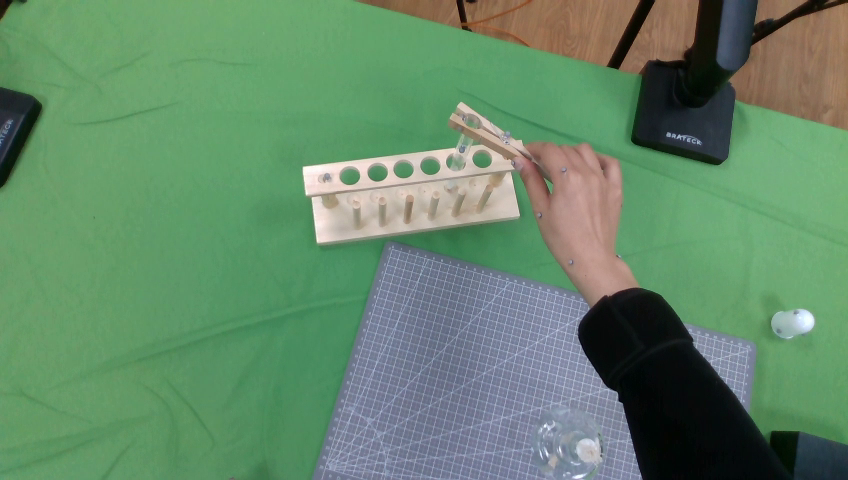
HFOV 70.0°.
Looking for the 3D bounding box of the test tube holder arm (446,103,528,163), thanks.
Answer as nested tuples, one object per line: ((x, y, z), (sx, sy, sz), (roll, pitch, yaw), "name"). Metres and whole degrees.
((0.061, -0.102, 0.582), (0.088, 0.015, 0.010), (32, 58, 0), "test tube holder arm")

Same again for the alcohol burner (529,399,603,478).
((0.148, 0.202, 0.613), (0.078, 0.119, 0.077), (1, 76, -4), "alcohol burner")

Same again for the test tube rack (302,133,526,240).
((-0.009, -0.059, 0.689), (0.243, 0.085, 0.066), (-8, 75, -6), "test tube rack")

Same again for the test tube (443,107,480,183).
((0.038, -0.097, 0.650), (0.017, 0.151, 0.017), (2, 70, -6), "test tube")

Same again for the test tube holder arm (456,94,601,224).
((0.100, -0.078, 0.582), (0.178, 0.015, 0.013), (41, 60, 5), "test tube holder arm")

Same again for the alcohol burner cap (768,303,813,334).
((0.426, 0.089, 0.700), (0.034, 0.048, 0.033), (1, 74, -3), "alcohol burner cap")
